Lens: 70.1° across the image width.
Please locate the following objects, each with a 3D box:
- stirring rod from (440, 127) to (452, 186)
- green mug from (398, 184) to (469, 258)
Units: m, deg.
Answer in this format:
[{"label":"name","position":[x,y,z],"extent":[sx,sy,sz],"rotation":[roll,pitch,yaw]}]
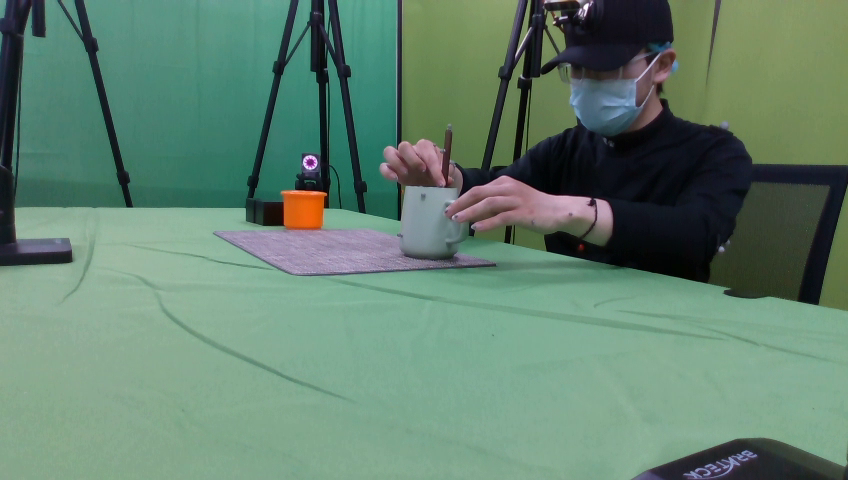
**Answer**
[{"label":"stirring rod","position":[0.028,-0.077,0.887],"extent":[0.006,0.176,0.014],"rotation":[-9,23,-35]},{"label":"green mug","position":[0.020,-0.028,0.890],"extent":[0.093,0.105,0.124],"rotation":[-4,9,-41]}]
